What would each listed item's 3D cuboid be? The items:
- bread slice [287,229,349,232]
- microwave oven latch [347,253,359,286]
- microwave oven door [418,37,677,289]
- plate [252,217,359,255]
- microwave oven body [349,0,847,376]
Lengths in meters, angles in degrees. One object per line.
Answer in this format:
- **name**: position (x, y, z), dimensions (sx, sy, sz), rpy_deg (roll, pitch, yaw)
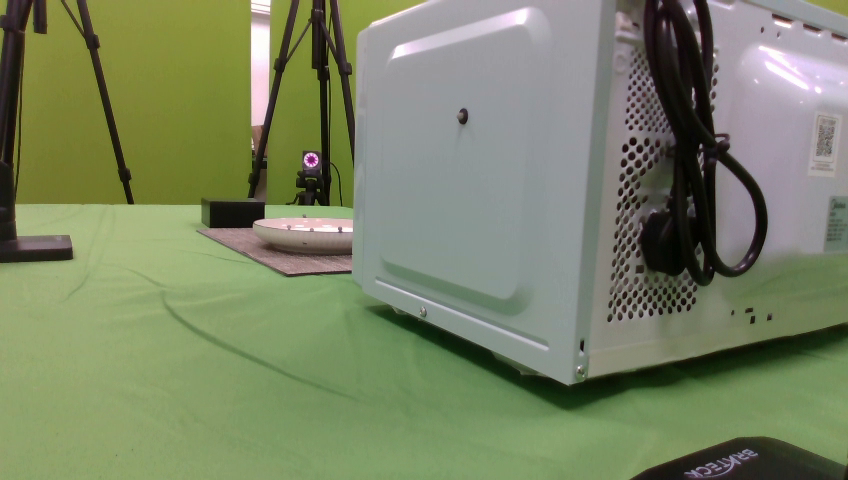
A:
- **bread slice**: position (-0.153, -0.005, 0.921), dimensions (0.132, 0.019, 0.104), rpy_deg (0, 7, -30)
- **microwave oven latch**: position (-0.034, 0.028, 0.581), dimensions (0.079, 0.029, 0.030), rpy_deg (-1, 7, -31)
- **microwave oven door**: position (0.159, -0.079, 0.684), dimensions (0.358, 0.243, 0.039), rpy_deg (-2, 9, -32)
- **plate**: position (-0.155, -0.007, 0.924), dimensions (0.209, 0.038, 0.209), rpy_deg (3, 7, 0)
- **microwave oven body**: position (0.199, -0.053, 0.540), dimensions (0.444, 0.260, 0.324), rpy_deg (-1, 8, -32)
